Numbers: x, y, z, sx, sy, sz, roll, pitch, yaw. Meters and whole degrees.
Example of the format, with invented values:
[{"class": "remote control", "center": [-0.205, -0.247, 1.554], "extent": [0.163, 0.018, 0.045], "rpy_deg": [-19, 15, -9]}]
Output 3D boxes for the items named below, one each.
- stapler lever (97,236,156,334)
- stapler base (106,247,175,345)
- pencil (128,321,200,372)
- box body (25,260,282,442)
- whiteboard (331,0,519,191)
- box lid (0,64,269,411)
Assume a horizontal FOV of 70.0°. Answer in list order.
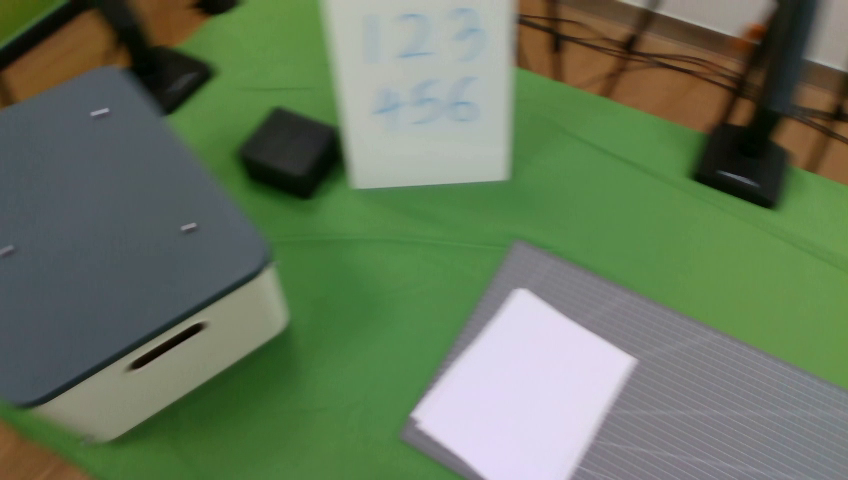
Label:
[{"class": "stapler lever", "center": [-0.343, 0.048, 0.694], "extent": [0.027, 0.040, 0.117], "rpy_deg": [-1, 56, 19]}, {"class": "stapler base", "center": [-0.337, 0.060, 0.714], "extent": [0.041, 0.025, 0.129], "rpy_deg": [-1, 58, 19]}, {"class": "pencil", "center": [-0.274, 0.102, 0.696], "extent": [0.012, 0.012, 0.193], "rpy_deg": [29, 48, 18]}, {"class": "box body", "center": [-0.355, 0.007, 0.677], "extent": [0.254, 0.162, 0.361], "rpy_deg": [-34, 63, -21]}, {"class": "whiteboard", "center": [0.000, -0.238, 0.802], "extent": [0.217, 0.308, 0.142], "rpy_deg": [-3, 37, -2]}, {"class": "box lid", "center": [-0.356, -0.036, 0.617], "extent": [0.263, 0.015, 0.368], "rpy_deg": [-33, 63, -21]}]
